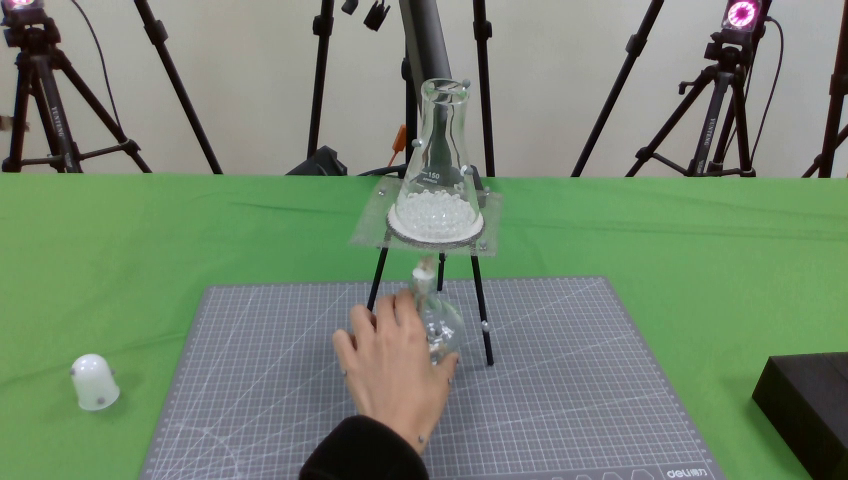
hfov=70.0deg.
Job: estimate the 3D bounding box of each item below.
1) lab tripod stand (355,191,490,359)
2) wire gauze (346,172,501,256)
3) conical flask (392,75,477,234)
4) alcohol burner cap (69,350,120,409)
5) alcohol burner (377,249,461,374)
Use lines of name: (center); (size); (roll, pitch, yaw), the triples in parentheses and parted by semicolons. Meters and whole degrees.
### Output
lab tripod stand: (0.009, 0.032, 0.573); (0.148, 0.132, 0.147); (4, 32, -2)
wire gauze: (0.005, -0.024, 0.537); (0.121, 0.011, 0.124); (7, 35, 6)
conical flask: (0.012, -0.072, 0.502); (0.075, 0.123, 0.074); (3, 33, -2)
alcohol burner cap: (-0.280, 0.114, 0.509); (0.034, 0.048, 0.033); (2, 33, -1)
alcohol burner: (-0.004, 0.061, 0.545); (0.078, 0.120, 0.077); (2, 31, -1)
